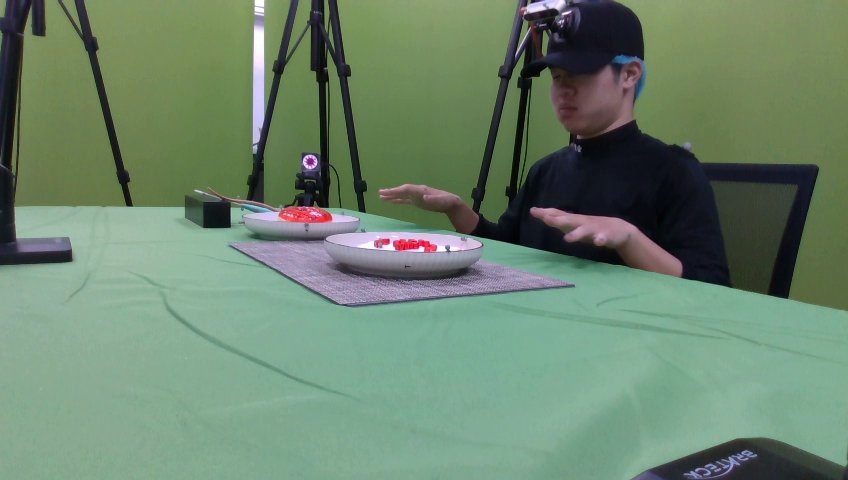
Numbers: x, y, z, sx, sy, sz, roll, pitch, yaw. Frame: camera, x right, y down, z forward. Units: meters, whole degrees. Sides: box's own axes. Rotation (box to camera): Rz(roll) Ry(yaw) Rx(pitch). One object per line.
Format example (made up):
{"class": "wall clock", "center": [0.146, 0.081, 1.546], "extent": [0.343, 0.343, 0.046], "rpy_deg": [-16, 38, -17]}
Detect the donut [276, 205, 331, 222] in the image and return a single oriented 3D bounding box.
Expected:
{"class": "donut", "center": [-0.218, -0.037, 1.091], "extent": [0.099, 0.048, 0.099], "rpy_deg": [5, 9, 0]}

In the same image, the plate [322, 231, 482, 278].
{"class": "plate", "center": [-0.028, 0.018, 0.789], "extent": [0.209, 0.038, 0.209], "rpy_deg": [3, 7, 0]}

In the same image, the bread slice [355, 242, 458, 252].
{"class": "bread slice", "center": [-0.027, 0.019, 0.793], "extent": [0.131, 0.019, 0.105], "rpy_deg": [6, 7, 18]}

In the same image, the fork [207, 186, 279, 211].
{"class": "fork", "center": [-0.342, -0.070, 1.244], "extent": [0.208, 0.018, 0.028], "rpy_deg": [18, -5, -24]}

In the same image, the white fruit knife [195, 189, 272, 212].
{"class": "white fruit knife", "center": [-0.378, -0.073, 1.270], "extent": [0.208, 0.016, 0.027], "rpy_deg": [18, -4, -32]}

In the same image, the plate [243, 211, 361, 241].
{"class": "plate", "center": [-0.219, -0.025, 1.092], "extent": [0.208, 0.039, 0.207], "rpy_deg": [2, 7, 0]}
